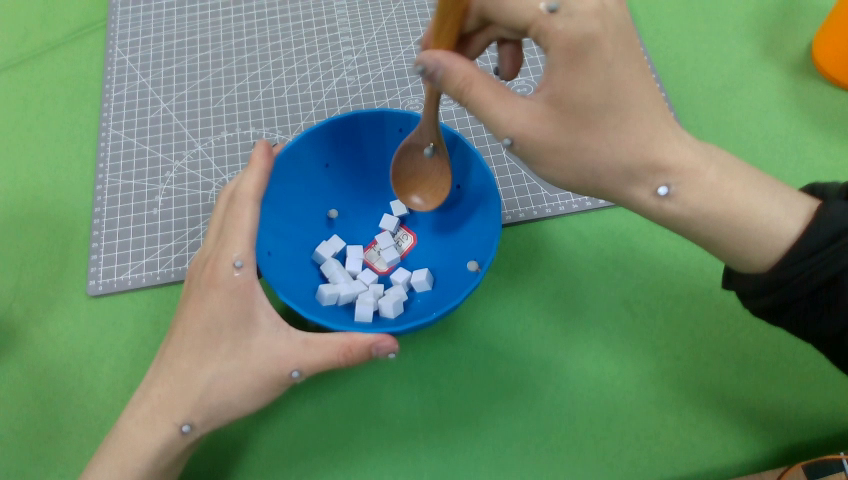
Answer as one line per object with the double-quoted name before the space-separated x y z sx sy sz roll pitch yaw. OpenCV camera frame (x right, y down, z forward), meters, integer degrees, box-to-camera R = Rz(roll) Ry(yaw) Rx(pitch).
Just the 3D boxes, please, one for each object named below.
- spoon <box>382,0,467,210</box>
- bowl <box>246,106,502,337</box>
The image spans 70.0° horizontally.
"spoon" 0.005 -0.078 0.313 0.041 0.195 0.021 26 59 6
"bowl" -0.029 -0.002 0.391 0.151 0.077 0.150 0 66 0
